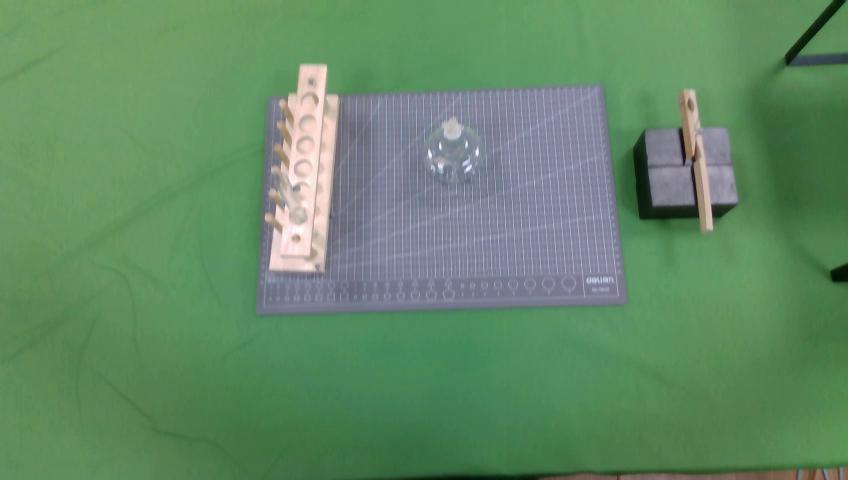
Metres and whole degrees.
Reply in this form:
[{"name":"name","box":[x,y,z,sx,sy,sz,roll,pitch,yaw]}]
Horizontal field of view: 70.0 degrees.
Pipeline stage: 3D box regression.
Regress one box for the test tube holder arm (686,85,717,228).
[{"name":"test tube holder arm","box":[0.325,-0.101,0.715,0.013,0.015,0.177,-3,75,-4]}]

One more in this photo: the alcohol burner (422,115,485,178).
[{"name":"alcohol burner","box":[0.035,-0.120,0.727,0.078,0.119,0.077,-1,76,3]}]

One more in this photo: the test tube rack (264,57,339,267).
[{"name":"test tube rack","box":[-0.153,-0.094,0.741,0.067,0.085,0.241,2,75,3]}]

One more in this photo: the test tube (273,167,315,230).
[{"name":"test tube","box":[-0.142,-0.041,0.675,0.017,0.151,0.017,0,70,1]}]

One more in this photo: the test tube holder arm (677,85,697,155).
[{"name":"test tube holder arm","box":[0.317,-0.144,0.726,0.010,0.015,0.087,-2,75,-3]}]
